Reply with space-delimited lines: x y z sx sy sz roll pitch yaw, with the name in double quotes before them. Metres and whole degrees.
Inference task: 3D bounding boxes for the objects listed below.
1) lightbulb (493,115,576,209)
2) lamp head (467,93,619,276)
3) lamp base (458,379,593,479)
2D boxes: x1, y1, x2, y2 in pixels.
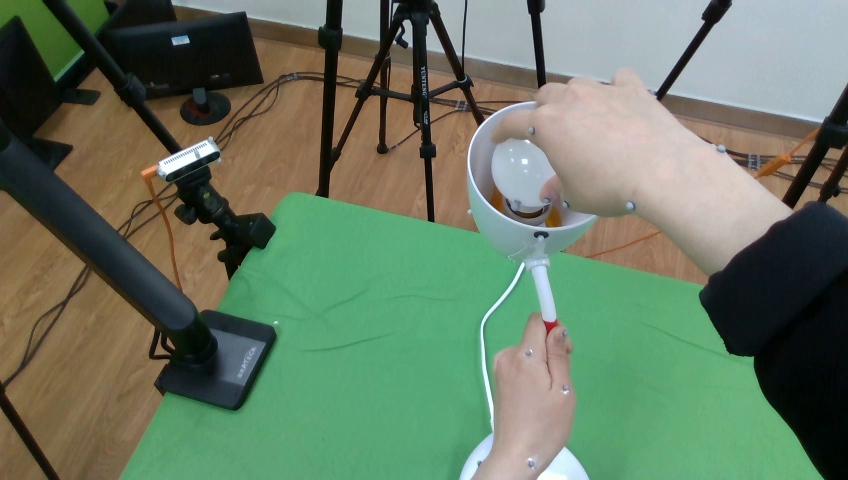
"lightbulb" 0.082 -0.051 0.461 0.059 0.108 0.059 -2 69 6
"lamp head" 0.087 -0.034 0.487 0.112 0.124 0.111 0 60 0
"lamp base" 0.113 0.236 0.648 0.161 0.182 0.177 -21 55 -15
